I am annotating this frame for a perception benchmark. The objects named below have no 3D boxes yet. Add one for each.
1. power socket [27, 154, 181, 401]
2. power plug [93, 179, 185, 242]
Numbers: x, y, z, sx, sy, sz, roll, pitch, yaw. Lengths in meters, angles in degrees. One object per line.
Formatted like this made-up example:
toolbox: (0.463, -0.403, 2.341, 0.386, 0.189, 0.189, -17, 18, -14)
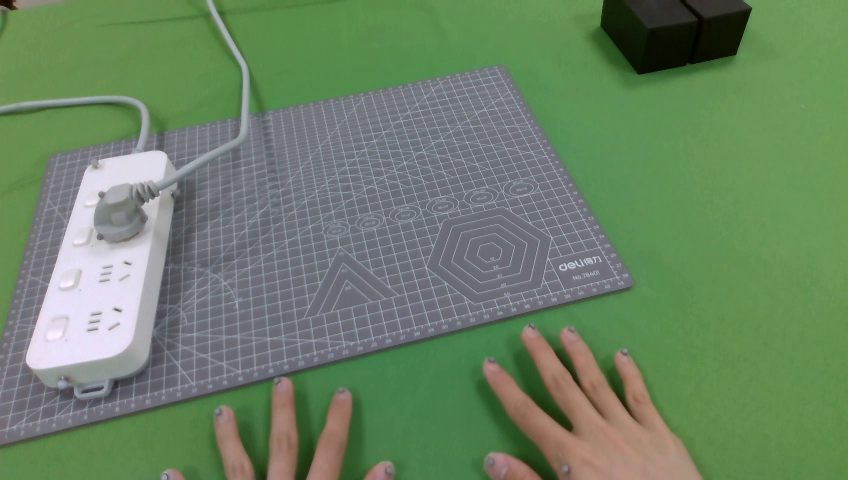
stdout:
power socket: (-0.234, 0.013, 0.462, 0.072, 0.033, 0.224, -8, 48, -4)
power plug: (-0.210, -0.015, 0.452, 0.072, 0.053, 0.035, -2, 49, 4)
